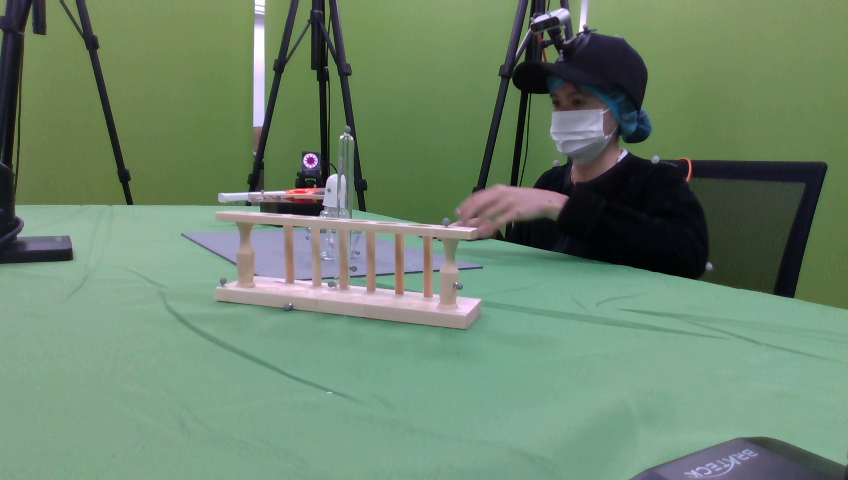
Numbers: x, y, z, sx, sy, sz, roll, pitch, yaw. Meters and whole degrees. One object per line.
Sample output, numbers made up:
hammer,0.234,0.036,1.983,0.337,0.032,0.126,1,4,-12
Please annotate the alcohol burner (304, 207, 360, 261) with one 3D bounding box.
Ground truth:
alcohol burner,-0.126,-0.031,0.838,0.078,0.119,0.078,3,5,0

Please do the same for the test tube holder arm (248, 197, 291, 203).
test tube holder arm,-0.303,-0.080,1.191,0.088,0.010,0.015,-7,18,-40

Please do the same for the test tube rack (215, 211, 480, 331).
test tube rack,-0.071,0.023,0.565,0.242,0.085,0.067,5,7,16

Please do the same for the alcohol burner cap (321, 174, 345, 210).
alcohol burner cap,-0.124,-0.067,0.833,0.034,0.048,0.034,7,7,-1

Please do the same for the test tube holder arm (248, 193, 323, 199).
test tube holder arm,-0.268,-0.089,1.218,0.179,0.013,0.015,-6,17,-40

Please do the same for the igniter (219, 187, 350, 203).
igniter,-0.285,-0.094,1.268,0.278,0.025,0.057,-6,12,-34

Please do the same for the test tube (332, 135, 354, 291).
test tube,-0.078,-0.025,0.581,0.017,0.150,0.017,3,7,0
